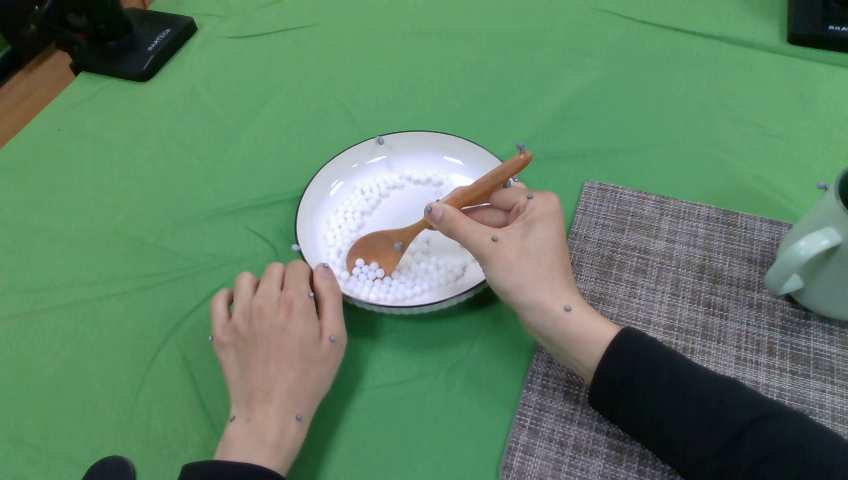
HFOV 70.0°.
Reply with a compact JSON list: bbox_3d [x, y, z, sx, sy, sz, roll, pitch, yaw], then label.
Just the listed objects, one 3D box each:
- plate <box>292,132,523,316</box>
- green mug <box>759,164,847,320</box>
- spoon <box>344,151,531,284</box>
[{"bbox_3d":[-0.014,-0.016,0.558,0.209,0.038,0.207,-2,53,3],"label":"plate"},{"bbox_3d":[0.318,0.008,0.467,0.125,0.106,0.091,-20,54,-10],"label":"green mug"},{"bbox_3d":[0.006,-0.016,0.492,0.041,0.193,0.021,59,31,2],"label":"spoon"}]
